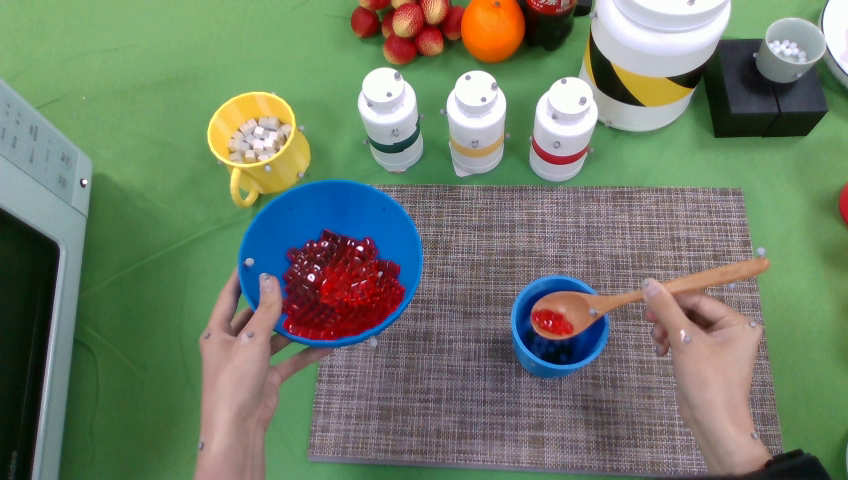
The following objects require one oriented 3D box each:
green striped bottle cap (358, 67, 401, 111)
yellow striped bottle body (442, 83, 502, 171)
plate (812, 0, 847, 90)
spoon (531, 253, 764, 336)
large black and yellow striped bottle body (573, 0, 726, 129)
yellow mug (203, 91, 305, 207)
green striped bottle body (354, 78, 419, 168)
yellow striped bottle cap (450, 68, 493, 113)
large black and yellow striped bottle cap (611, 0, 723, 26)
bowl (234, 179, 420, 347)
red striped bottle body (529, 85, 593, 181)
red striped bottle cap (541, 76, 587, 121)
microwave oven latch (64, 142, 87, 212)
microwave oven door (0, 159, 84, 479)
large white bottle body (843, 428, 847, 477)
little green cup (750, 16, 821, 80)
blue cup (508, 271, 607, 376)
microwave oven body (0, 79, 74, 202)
[{"bbox_3d":[-0.046,-0.155,0.622,0.044,0.020,0.044,-1,66,3],"label":"green striped bottle cap"},{"bbox_3d":[0.053,-0.131,0.660,0.063,0.121,0.062,-2,67,5],"label":"yellow striped bottle body"},{"bbox_3d":[0.558,-0.231,0.706,0.209,0.038,0.207,-1,68,4],"label":"plate"},{"bbox_3d":[0.173,0.043,0.497,0.193,0.022,0.041,-21,72,34],"label":"spoon"},{"bbox_3d":[0.237,-0.220,0.648,0.131,0.185,0.130,-2,67,4],"label":"large black and yellow striped bottle body"},{"bbox_3d":[-0.198,-0.099,0.697,0.100,0.064,0.130,10,69,8],"label":"yellow mug"},{"bbox_3d":[-0.041,-0.135,0.670,0.063,0.120,0.062,-2,67,4],"label":"green striped bottle body"},{"bbox_3d":[0.048,-0.151,0.613,0.044,0.019,0.044,-1,69,3],"label":"yellow striped bottle cap"},{"bbox_3d":[0.229,-0.252,0.570,0.115,0.019,0.114,-2,66,5],"label":"large black and yellow striped bottle cap"},{"bbox_3d":[-0.080,0.030,0.526,0.151,0.077,0.150,2,63,-3],"label":"bowl"},{"bbox_3d":[0.145,-0.119,0.648,0.063,0.121,0.062,-3,65,8],"label":"red striped bottle body"},{"bbox_3d":[0.139,-0.141,0.600,0.044,0.018,0.044,0,66,0],"label":"red striped bottle cap"},{"bbox_3d":[-0.409,-0.071,0.697,0.030,0.030,0.078,-6,68,2],"label":"microwave oven latch"},{"bbox_3d":[-0.394,0.090,0.519,0.039,0.245,0.353,-8,67,2],"label":"microwave oven door"},{"bbox_3d":[0.439,0.172,0.468,0.130,0.186,0.129,-2,66,4],"label":"large white bottle body"},{"bbox_3d":[0.387,-0.205,0.654,0.061,0.039,0.061,-1,66,3],"label":"little green cup"},{"bbox_3d":[0.118,0.088,0.570,0.092,0.101,0.092,-1,66,3],"label":"blue cup"},{"bbox_3d":[-0.543,0.073,0.543,0.326,0.262,0.438,-8,68,1],"label":"microwave oven body"}]
